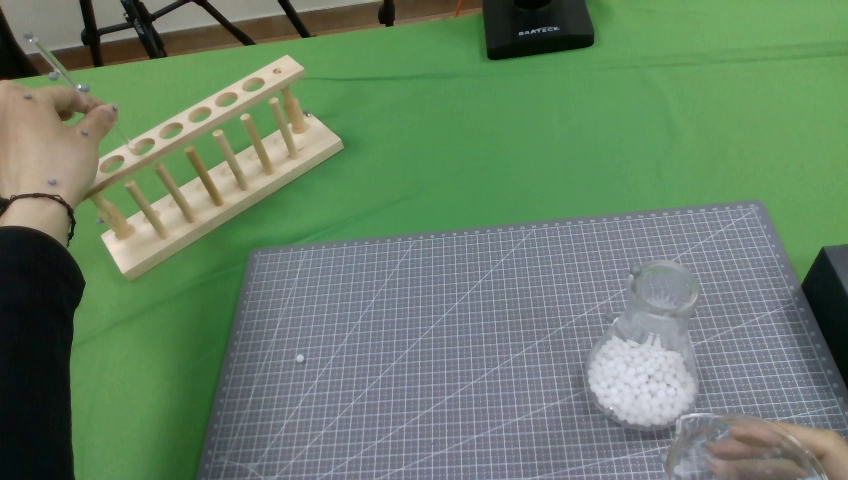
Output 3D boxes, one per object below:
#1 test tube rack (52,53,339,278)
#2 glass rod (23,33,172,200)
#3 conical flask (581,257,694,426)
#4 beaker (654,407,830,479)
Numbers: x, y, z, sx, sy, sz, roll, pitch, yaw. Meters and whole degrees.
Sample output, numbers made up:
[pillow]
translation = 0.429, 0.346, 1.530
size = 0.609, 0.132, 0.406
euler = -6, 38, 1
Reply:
[test tube rack]
translation = -0.208, -0.075, 0.582
size = 0.242, 0.086, 0.066
euler = -36, 54, -17
[glass rod]
translation = -0.266, -0.093, 0.520
size = 0.008, 0.202, 0.008
euler = -8, 54, 11
[conical flask]
translation = 0.140, 0.061, 0.381
size = 0.075, 0.123, 0.074
euler = -5, 51, 7
[beaker]
translation = 0.158, 0.143, 0.327
size = 0.074, 0.101, 0.083
euler = -26, 51, -10
